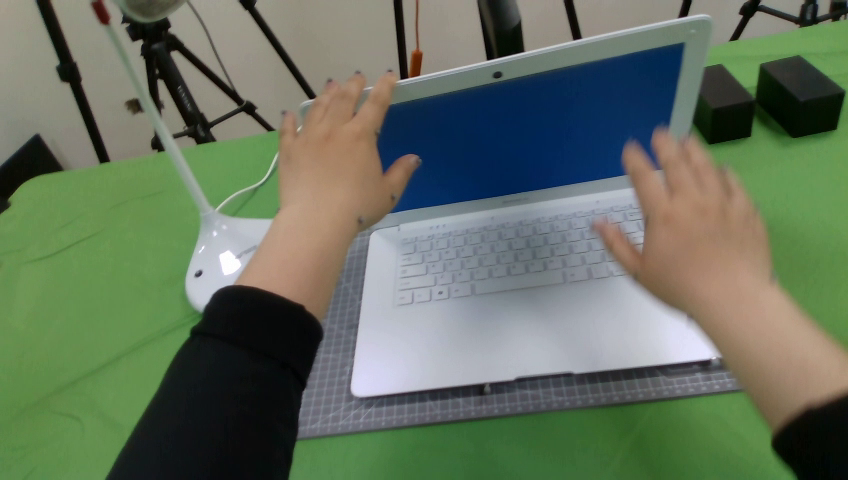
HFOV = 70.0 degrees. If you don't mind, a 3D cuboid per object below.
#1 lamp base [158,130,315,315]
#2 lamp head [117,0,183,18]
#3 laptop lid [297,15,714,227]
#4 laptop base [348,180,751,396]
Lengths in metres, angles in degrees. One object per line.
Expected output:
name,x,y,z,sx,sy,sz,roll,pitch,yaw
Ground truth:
lamp base,-0.234,-0.032,0.683,0.177,0.182,0.160,20,51,38
lamp head,-0.246,-0.255,0.481,0.123,0.113,0.112,32,52,1
laptop lid,0.081,-0.096,0.598,0.356,0.244,0.013,-10,60,10
laptop base,0.104,0.042,0.613,0.354,0.023,0.233,-9,43,8
